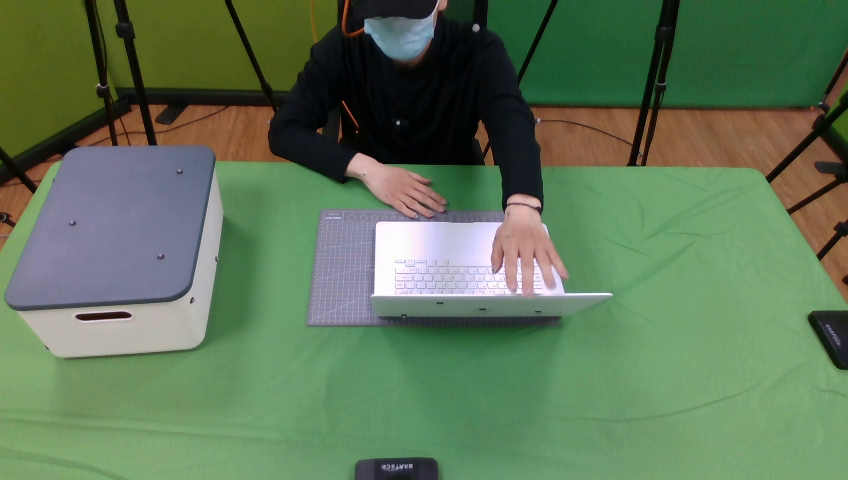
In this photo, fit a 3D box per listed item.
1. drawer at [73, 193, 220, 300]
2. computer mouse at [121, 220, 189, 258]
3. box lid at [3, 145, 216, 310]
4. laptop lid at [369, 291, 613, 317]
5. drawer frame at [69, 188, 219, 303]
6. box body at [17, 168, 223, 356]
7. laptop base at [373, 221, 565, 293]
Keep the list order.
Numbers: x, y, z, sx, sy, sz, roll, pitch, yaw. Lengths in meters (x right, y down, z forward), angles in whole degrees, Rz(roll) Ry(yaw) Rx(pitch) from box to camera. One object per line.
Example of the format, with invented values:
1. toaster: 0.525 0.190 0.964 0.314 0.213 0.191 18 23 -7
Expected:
1. drawer: -0.494 0.009 1.103 0.195 0.073 0.210 2 45 -6
2. computer mouse: -0.511 -0.003 1.152 0.117 0.041 0.062 12 42 -3
3. box lid: -0.495 -0.040 0.998 0.263 0.015 0.369 -2 47 -8
4. laptop lid: 0.092 0.105 0.965 0.357 0.242 0.013 0 76 -5
5. drawer frame: -0.496 0.005 1.099 0.202 0.083 0.212 -2 49 -4
6. box body: -0.499 0.013 1.051 0.254 0.161 0.361 -3 47 -7
7. laptop base: 0.080 0.049 1.159 0.355 0.023 0.234 0 43 -4
